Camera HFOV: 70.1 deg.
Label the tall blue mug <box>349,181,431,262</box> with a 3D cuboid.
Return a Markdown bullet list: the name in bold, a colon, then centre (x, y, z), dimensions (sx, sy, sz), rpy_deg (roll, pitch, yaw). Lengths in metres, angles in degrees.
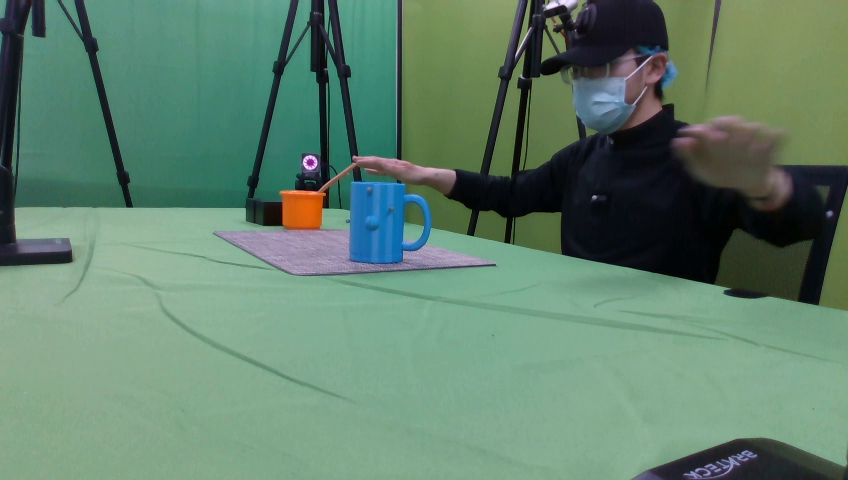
- **tall blue mug**: centre (-0.051, -0.028, 0.849), dimensions (0.108, 0.108, 0.077), rpy_deg (-1, 7, -22)

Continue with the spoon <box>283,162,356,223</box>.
- **spoon**: centre (-0.211, -0.098, 1.234), dimensions (0.022, 0.194, 0.041), rpy_deg (47, -11, -18)
